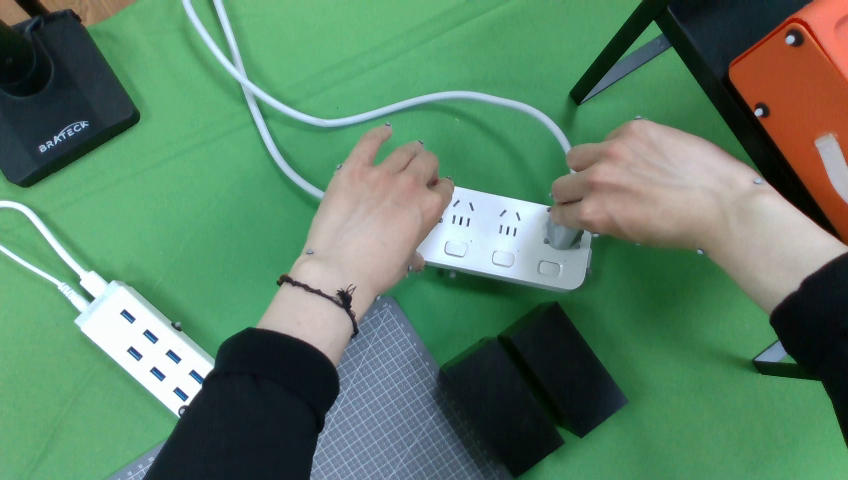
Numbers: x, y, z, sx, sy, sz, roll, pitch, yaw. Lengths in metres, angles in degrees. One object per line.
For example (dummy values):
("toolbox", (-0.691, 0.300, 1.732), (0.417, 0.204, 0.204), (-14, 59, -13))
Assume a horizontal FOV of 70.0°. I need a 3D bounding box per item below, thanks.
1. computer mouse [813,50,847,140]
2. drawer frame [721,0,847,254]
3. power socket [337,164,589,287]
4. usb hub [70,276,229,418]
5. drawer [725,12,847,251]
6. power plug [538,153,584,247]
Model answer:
("computer mouse", (0.302, -0.074, 0.376), (0.063, 0.041, 0.117), (-37, 86, -4))
("drawer frame", (0.330, -0.093, 0.364), (0.213, 0.083, 0.201), (-34, 87, -9))
("power socket", (0.039, -0.012, 0.535), (0.227, 0.032, 0.072), (12, 82, -3))
("usb hub", (-0.228, 0.088, 0.505), (0.125, 0.025, 0.049), (41, 83, 1))
("drawer", (0.328, -0.089, 0.365), (0.212, 0.073, 0.194), (-33, 87, -8))
("power plug", (0.121, -0.029, 0.514), (0.035, 0.052, 0.072), (24, 78, -6))
